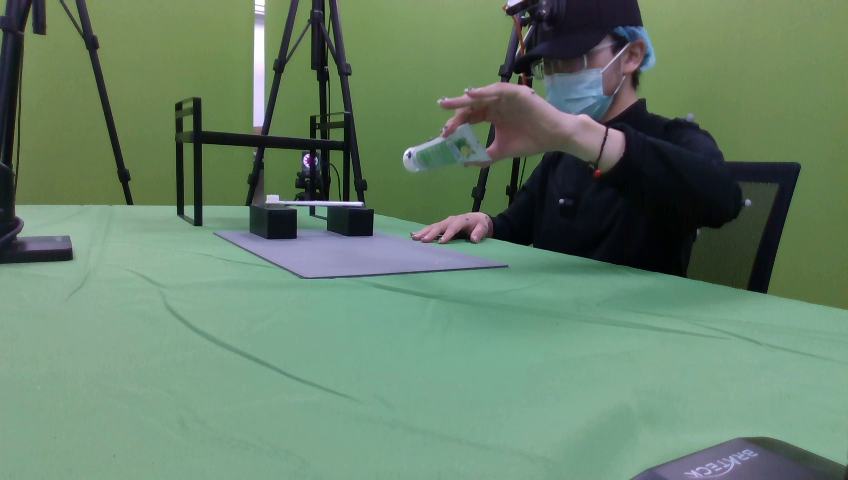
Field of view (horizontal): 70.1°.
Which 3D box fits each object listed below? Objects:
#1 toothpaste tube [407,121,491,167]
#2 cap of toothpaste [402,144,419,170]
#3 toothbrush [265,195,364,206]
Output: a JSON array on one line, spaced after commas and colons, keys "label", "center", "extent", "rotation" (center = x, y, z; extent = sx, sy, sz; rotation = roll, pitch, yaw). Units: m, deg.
[{"label": "toothpaste tube", "center": [0.026, -0.120, 0.791], "extent": [0.034, 0.055, 0.164], "rotation": [-50, 23, -21]}, {"label": "cap of toothpaste", "center": [-0.014, -0.119, 0.861], "extent": [0.037, 0.037, 0.011], "rotation": [-4, 6, -40]}, {"label": "toothbrush", "center": [-0.194, -0.069, 1.089], "extent": [0.183, 0.016, 0.014], "rotation": [0, -5, -27]}]
